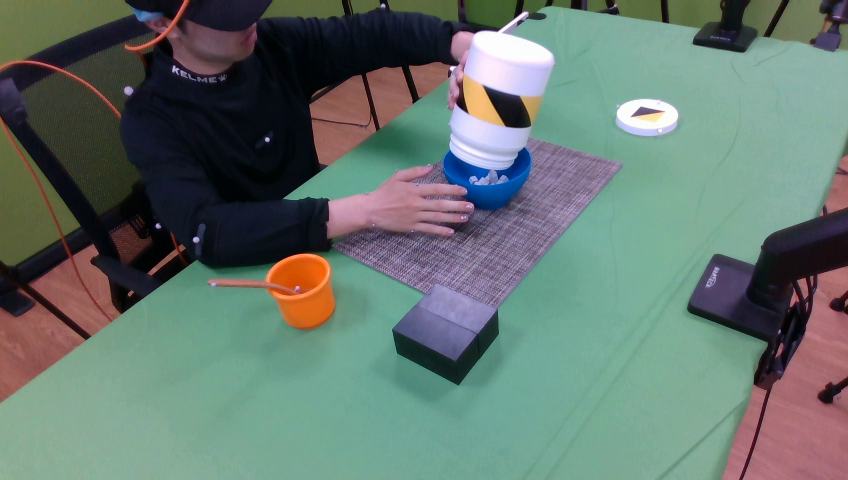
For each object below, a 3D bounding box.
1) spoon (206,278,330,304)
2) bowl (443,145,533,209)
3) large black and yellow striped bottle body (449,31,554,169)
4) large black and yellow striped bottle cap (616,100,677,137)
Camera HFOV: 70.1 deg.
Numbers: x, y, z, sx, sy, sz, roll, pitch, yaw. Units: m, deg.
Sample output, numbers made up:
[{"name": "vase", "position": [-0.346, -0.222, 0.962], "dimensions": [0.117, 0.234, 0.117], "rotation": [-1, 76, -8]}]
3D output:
[{"name": "spoon", "position": [-0.207, 0.066, 0.824], "dimensions": [0.041, 0.195, 0.021], "rotation": [34, 100, 41]}, {"name": "bowl", "position": [0.109, -0.106, 1.026], "dimensions": [0.151, 0.077, 0.150], "rotation": [-3, 42, 4]}, {"name": "large black and yellow striped bottle body", "position": [0.114, -0.216, 0.945], "dimensions": [0.131, 0.184, 0.130], "rotation": [12, 30, -7]}, {"name": "large black and yellow striped bottle cap", "position": [0.438, -0.241, 1.190], "dimensions": [0.115, 0.019, 0.114], "rotation": [-4, 42, 4]}]
